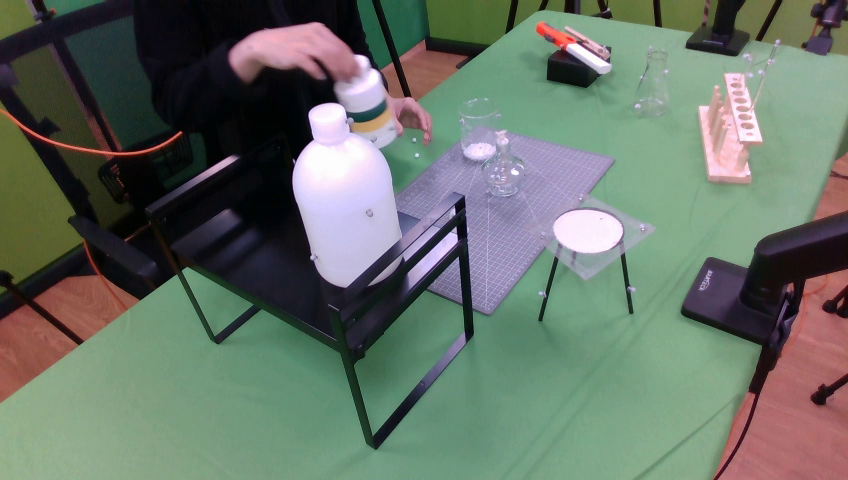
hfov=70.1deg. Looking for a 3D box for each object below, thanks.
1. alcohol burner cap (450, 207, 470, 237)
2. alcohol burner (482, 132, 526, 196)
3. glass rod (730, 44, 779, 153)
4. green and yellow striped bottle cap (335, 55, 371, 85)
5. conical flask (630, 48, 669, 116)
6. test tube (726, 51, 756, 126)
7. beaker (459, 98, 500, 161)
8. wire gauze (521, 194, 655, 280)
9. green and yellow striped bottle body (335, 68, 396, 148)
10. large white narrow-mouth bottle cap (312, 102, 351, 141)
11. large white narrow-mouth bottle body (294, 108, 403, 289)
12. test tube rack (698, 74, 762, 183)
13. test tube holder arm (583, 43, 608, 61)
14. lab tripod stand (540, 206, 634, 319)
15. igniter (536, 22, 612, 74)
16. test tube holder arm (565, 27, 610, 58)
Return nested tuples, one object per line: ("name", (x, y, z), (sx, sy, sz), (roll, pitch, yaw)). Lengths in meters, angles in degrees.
("alcohol burner cap", (0.057, -0.032, 0.987), (0.034, 0.048, 0.033), (-4, 41, 4))
("alcohol burner", (0.137, -0.136, 1.042), (0.078, 0.119, 0.077), (-4, 43, 4))
("glass rod", (0.555, -0.233, 1.020), (0.008, 0.200, 0.008), (2, 40, -1))
("green and yellow striped bottle cap", (-0.094, -0.224, 0.798), (0.045, 0.020, 0.045), (-10, 45, 10))
("conical flask", (0.456, -0.317, 1.205), (0.075, 0.122, 0.075), (-4, 41, 4))
("test tube", (0.568, -0.268, 1.086), (0.017, 0.151, 0.017), (-4, 46, 4))
("beaker", (0.104, -0.208, 1.142), (0.074, 0.101, 0.083), (-20, 41, -15))
("wire gauze", (0.207, -0.012, 0.772), (0.122, 0.011, 0.124), (-28, 44, -20))
("green and yellow striped bottle body", (-0.083, -0.190, 0.836), (0.063, 0.120, 0.063), (-9, 46, 10))
("large white narrow-mouth bottle cap", (-0.089, -0.114, 0.579), (0.038, 0.024, 0.037), (-3, 39, 3))
("large white narrow-mouth bottle body", (-0.082, -0.047, 0.634), (0.102, 0.195, 0.101), (-4, 39, 4))
("test tube rack", (0.547, -0.208, 1.095), (0.066, 0.085, 0.242), (5, 42, 15))
("test tube holder arm", (0.379, -0.420, 1.341), (0.010, 0.015, 0.087), (-39, 41, 10))
("lab tripod stand", (0.218, 0.034, 0.821), (0.148, 0.132, 0.147), (-4, 43, 4))
("igniter", (0.330, -0.439, 1.366), (0.057, 0.025, 0.274), (-11, 41, -20))
("test tube holder arm", (0.369, -0.450, 1.373), (0.013, 0.015, 0.177), (-39, 41, 10))
